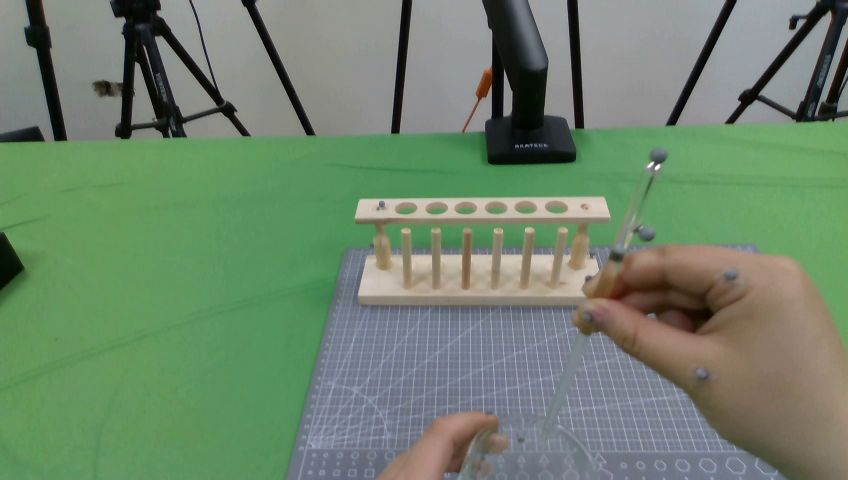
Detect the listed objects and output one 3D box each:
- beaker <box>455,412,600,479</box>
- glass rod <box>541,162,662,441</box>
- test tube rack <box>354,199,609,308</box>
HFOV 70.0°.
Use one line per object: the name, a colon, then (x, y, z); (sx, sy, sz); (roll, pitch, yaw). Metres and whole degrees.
beaker: (0.056, 0.167, 0.367); (0.084, 0.101, 0.073); (-9, 38, -13)
glass rod: (0.080, 0.045, 0.294); (0.008, 0.201, 0.008); (3, 42, -3)
test tube rack: (0.055, 0.013, 0.599); (0.242, 0.086, 0.066); (0, 37, 4)
